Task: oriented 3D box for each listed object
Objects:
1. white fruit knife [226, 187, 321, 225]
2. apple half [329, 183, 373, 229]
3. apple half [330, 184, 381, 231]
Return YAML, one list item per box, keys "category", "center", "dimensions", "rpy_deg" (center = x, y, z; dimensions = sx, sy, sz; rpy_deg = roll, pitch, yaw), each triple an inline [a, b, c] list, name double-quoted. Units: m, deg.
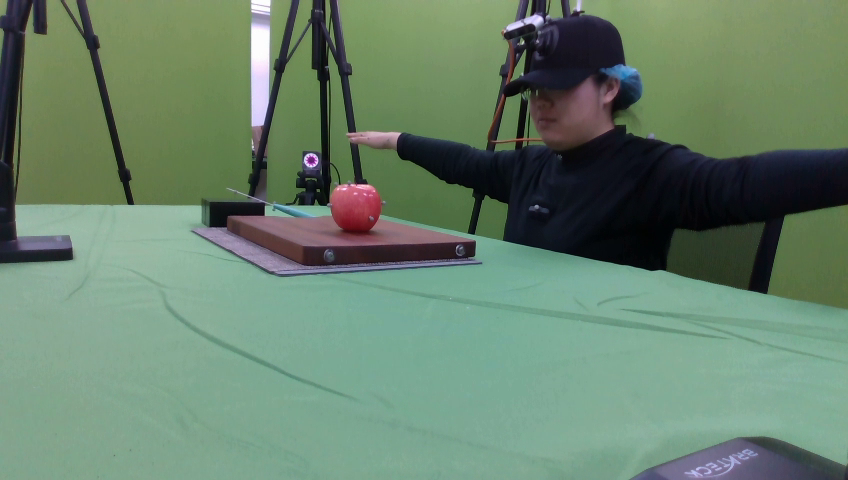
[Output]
- category: "white fruit knife"
  center: [-0.298, -0.068, 1.213]
  dimensions: [0.208, 0.016, 0.027]
  rpy_deg: [20, -3, -31]
- category: "apple half"
  center: [-0.123, -0.056, 0.970]
  dimensions: [0.082, 0.081, 0.032]
  rpy_deg: [-3, 13, -36]
- category: "apple half"
  center: [-0.100, -0.049, 0.939]
  dimensions: [0.081, 0.074, 0.053]
  rpy_deg: [2, 11, -36]
